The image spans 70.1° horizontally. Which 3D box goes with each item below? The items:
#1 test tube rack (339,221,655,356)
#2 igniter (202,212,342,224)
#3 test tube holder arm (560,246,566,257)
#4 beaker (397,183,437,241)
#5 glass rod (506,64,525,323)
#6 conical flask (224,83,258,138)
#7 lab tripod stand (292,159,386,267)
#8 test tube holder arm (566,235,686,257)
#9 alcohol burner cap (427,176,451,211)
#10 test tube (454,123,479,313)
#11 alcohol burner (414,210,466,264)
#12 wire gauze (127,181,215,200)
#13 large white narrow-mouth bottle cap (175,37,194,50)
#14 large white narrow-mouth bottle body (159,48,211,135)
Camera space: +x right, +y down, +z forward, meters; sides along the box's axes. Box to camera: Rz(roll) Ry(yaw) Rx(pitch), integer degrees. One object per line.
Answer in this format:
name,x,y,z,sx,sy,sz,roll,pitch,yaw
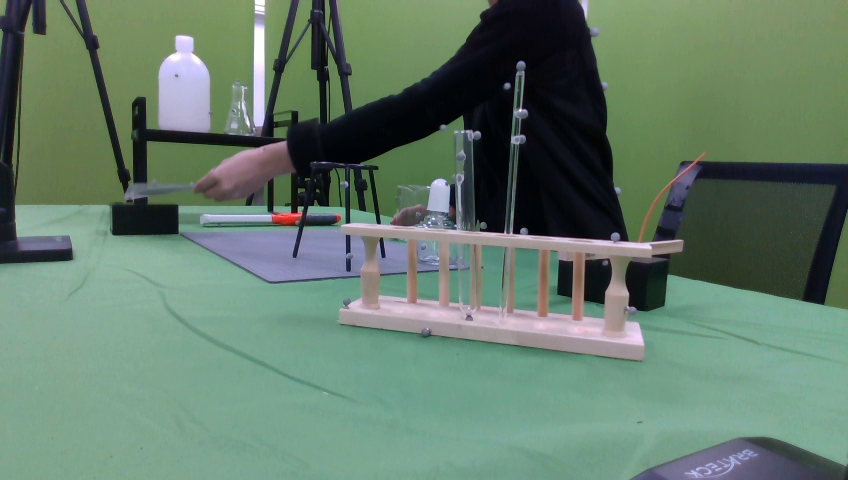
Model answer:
test tube rack,0.056,0.032,0.495,0.242,0.085,0.067,4,7,15
igniter,-0.298,-0.044,1.216,0.278,0.025,0.057,-2,-2,-33
test tube holder arm,0.173,0.007,0.612,0.088,0.015,0.010,-3,8,-30
beaker,-0.012,-0.050,1.071,0.074,0.100,0.084,2,8,6
glass rod,0.069,-0.030,0.458,0.008,0.199,0.008,0,15,0
conical flask,-0.422,-0.299,1.395,0.075,0.122,0.075,2,8,0
lab tripod stand,-0.105,-0.039,0.797,0.148,0.131,0.148,2,5,0
test tube holder arm,0.215,0.006,0.630,0.179,0.015,0.013,-3,9,-31
alcohol burner cap,0.023,-0.064,0.822,0.034,0.048,0.034,7,4,0
test tube,0.033,-0.016,0.477,0.017,0.150,0.017,-2,9,1
alcohol burner,0.021,-0.028,0.825,0.078,0.119,0.078,0,6,0
wire gauze,-0.417,-0.085,0.991,0.126,0.011,0.121,-10,2,-29
large white narrow-mouth bottle cap,-0.501,-0.409,1.264,0.038,0.024,0.037,2,7,0
large white narrow-mouth bottle body,-0.503,-0.322,1.275,0.102,0.194,0.102,2,7,0
